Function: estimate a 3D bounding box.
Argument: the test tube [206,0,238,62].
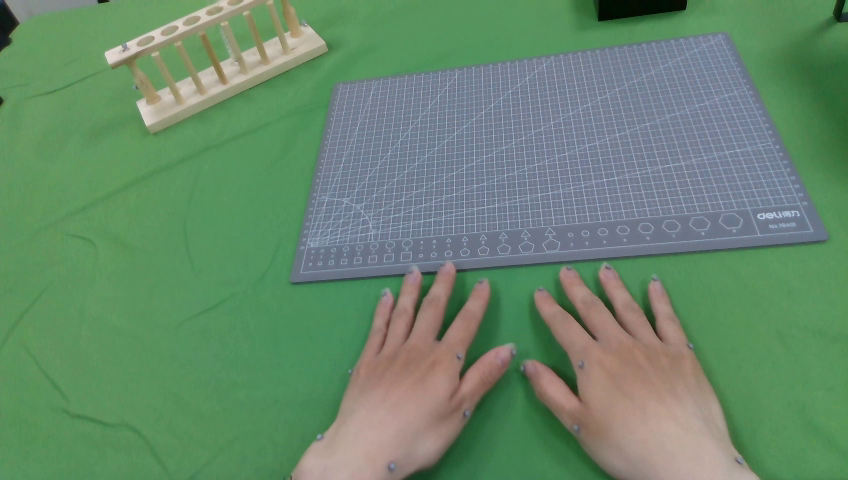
[{"bbox_3d":[-0.252,-0.284,0.729,0.017,0.152,0.017,-6,45,7],"label":"test tube"}]

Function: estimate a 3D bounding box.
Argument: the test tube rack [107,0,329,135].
[{"bbox_3d":[-0.249,-0.231,0.751,0.242,0.086,0.066,-29,50,-12],"label":"test tube rack"}]
